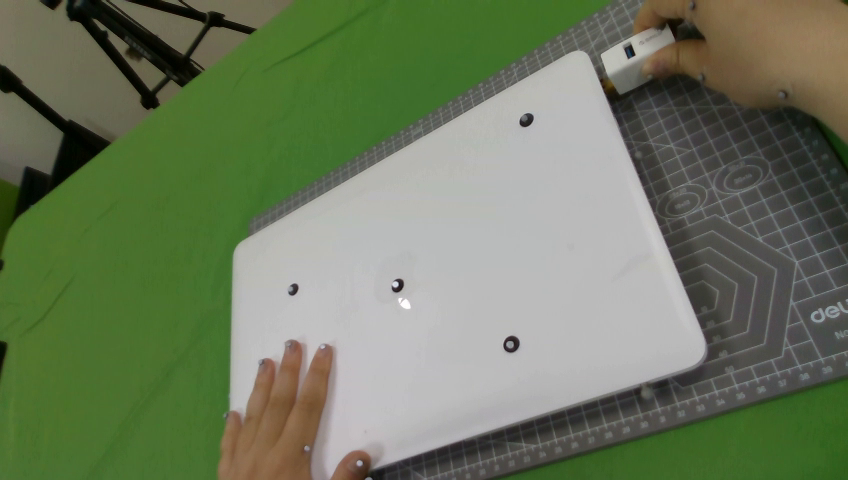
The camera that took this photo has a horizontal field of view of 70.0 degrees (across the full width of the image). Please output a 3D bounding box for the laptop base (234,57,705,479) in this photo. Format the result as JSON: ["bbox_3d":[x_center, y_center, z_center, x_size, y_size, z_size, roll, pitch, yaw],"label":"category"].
[{"bbox_3d":[-0.011,0.038,0.442,0.354,0.023,0.233,-27,57,24],"label":"laptop base"}]

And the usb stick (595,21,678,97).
[{"bbox_3d":[0.131,-0.113,0.394,0.059,0.027,0.021,-27,51,32],"label":"usb stick"}]

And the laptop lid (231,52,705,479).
[{"bbox_3d":[-0.017,0.036,0.433,0.356,0.013,0.239,-25,57,25],"label":"laptop lid"}]
